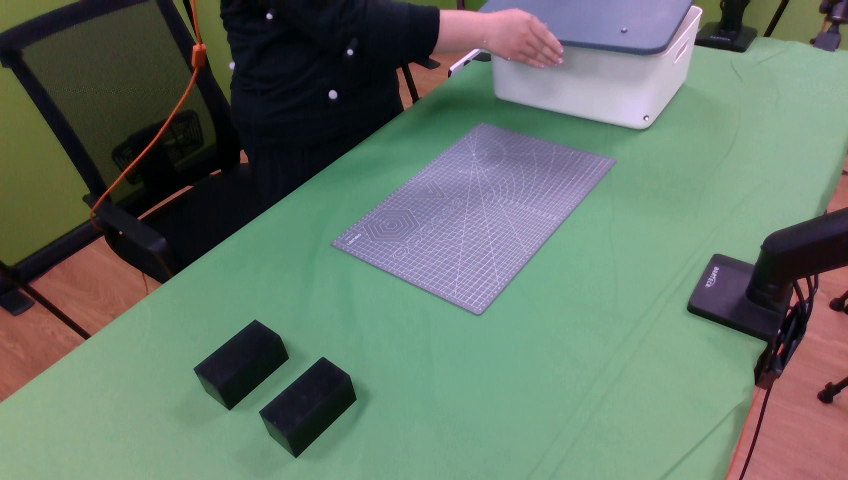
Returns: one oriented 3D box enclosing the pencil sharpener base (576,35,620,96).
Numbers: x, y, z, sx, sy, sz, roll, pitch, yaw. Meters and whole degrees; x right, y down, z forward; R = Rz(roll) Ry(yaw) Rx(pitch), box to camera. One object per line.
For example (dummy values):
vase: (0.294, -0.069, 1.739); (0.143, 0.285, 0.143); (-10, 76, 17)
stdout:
pencil sharpener base: (0.363, -0.368, 1.273); (0.076, 0.107, 0.061); (19, 48, 29)

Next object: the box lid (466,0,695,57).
box lid: (0.289, -0.423, 1.119); (0.369, 0.015, 0.263); (17, 51, 26)

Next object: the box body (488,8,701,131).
box body: (0.345, -0.379, 1.257); (0.361, 0.161, 0.255); (20, 48, 29)

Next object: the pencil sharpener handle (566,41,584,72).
pencil sharpener handle: (0.319, -0.391, 1.289); (0.030, 0.068, 0.036); (19, 45, 30)
